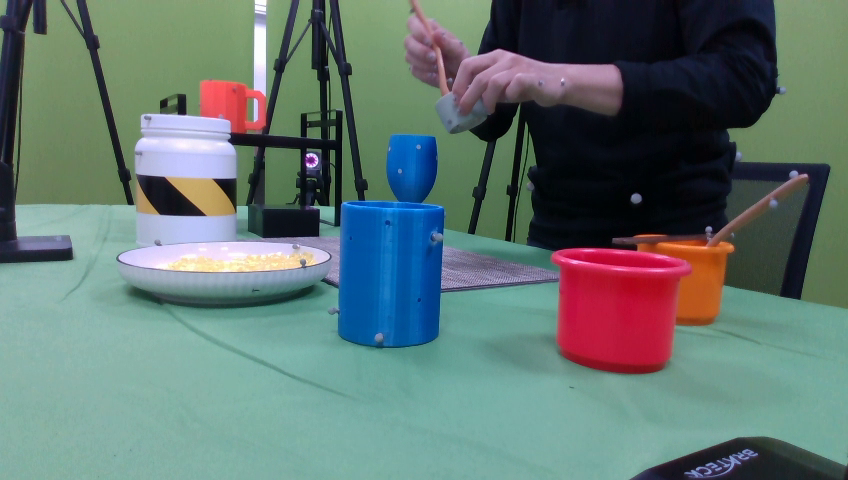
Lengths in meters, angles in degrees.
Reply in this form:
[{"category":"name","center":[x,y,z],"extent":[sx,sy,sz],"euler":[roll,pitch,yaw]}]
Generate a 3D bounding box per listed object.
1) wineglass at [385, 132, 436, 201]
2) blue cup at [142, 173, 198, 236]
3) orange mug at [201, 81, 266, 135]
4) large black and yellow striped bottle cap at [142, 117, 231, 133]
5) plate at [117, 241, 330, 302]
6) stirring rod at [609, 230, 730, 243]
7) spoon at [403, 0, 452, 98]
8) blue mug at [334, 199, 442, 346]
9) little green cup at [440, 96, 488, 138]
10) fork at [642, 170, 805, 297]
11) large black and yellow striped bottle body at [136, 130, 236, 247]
[{"category":"wineglass","center":[-0.020,-0.061,0.838],"extent":[0.074,0.172,0.073],"euler":[2,7,0]},{"category":"blue cup","center":[-0.425,-0.060,1.014],"extent":[0.093,0.100,0.092],"euler":[4,9,0]},{"category":"orange mug","center":[-0.377,-0.259,1.197],"extent":[0.126,0.101,0.083],"euler":[-2,7,-6]},{"category":"large black and yellow striped bottle cap","center":[-0.328,-0.159,0.839],"extent":[0.115,0.019,0.115],"euler":[1,9,0]},{"category":"plate","center":[-0.203,0.031,0.630],"extent":[0.209,0.038,0.209],"euler":[3,7,0]},{"category":"stirring rod","center":[0.241,-0.004,0.582],"extent":[0.177,0.006,0.014],"euler":[-4,10,-33]},{"category":"spoon","center":[0.010,-0.239,0.767],"extent":[0.021,0.193,0.042],"euler":[-22,-10,8]},{"category":"blue mug","center":[-0.034,0.020,0.498],"extent":[0.083,0.106,0.116],"euler":[0,7,-20]},{"category":"little green cup","center":[0.049,-0.152,0.753],"extent":[0.061,0.038,0.061],"euler":[4,-5,1]},{"category":"fork","center":[0.261,0.004,0.545],"extent":[0.028,0.018,0.207],"euler":[5,-37,-15]},{"category":"large black and yellow striped bottle body","center":[-0.332,-0.076,0.851],"extent":[0.131,0.184,0.130],"euler":[3,8,0]}]
